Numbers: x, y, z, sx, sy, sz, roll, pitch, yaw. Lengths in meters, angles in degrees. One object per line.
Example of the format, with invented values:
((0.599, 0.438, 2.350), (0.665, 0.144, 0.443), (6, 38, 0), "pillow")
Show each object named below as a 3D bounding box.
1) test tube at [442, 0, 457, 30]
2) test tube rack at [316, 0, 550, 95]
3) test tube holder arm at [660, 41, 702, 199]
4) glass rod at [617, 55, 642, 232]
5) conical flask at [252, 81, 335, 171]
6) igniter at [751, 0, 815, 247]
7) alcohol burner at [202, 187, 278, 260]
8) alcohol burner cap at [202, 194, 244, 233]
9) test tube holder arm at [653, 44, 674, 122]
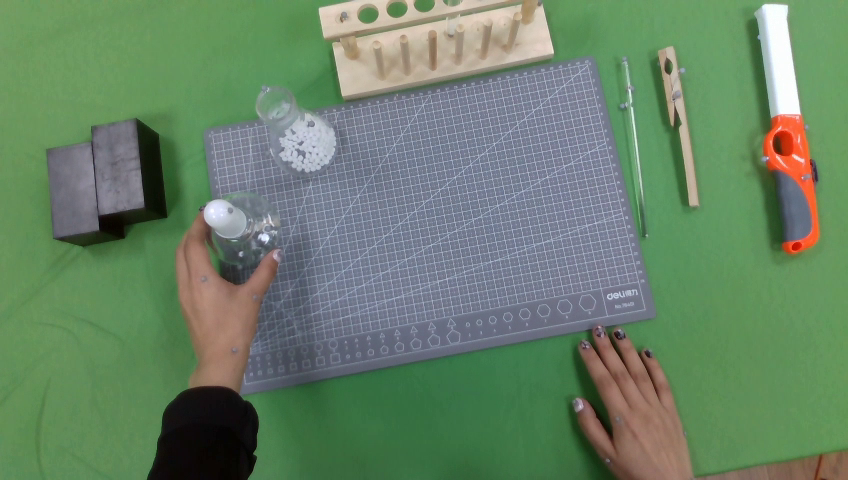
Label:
((0.028, -0.257, 0.608), (0.017, 0.151, 0.017), (0, 78, 0), "test tube")
((0.015, -0.227, 0.654), (0.242, 0.085, 0.066), (-11, 81, 0), "test tube rack")
((0.280, -0.131, 0.661), (0.013, 0.015, 0.177), (-16, 79, 36), "test tube holder arm")
((0.226, -0.108, 0.666), (0.008, 0.008, 0.199), (-4, 84, 1), "glass rod")
((-0.139, -0.121, 0.622), (0.075, 0.122, 0.075), (0, 81, 2), "conical flask")
((0.386, -0.129, 0.654), (0.057, 0.025, 0.275), (-1, 82, -8), "igniter")
((-0.192, -0.020, 0.614), (0.078, 0.119, 0.077), (-1, 81, 5), "alcohol burner")
((-0.194, -0.027, 0.578), (0.034, 0.048, 0.033), (0, 76, -1), "alcohol burner cap")
((0.268, -0.174, 0.671), (0.010, 0.015, 0.087), (-14, 80, 37), "test tube holder arm")
